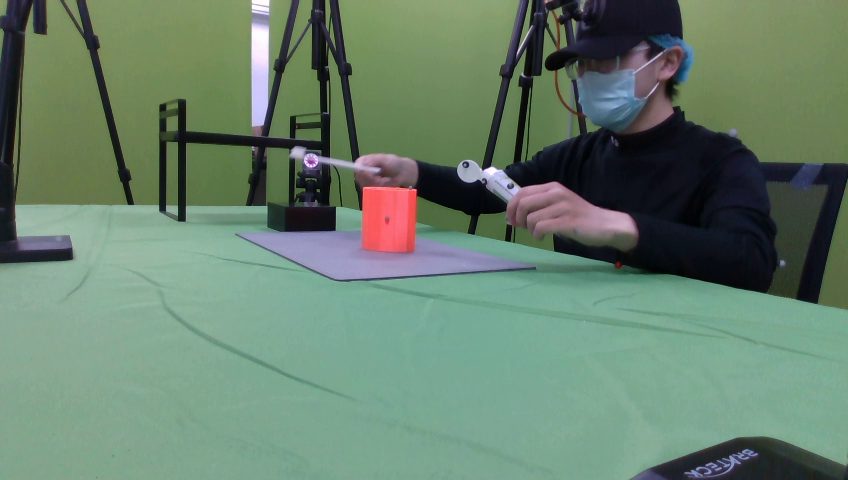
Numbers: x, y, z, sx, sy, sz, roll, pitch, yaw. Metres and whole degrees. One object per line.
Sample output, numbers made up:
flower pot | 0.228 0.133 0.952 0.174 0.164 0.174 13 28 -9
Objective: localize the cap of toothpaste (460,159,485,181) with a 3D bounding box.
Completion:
cap of toothpaste | 0.070 -0.102 0.872 0.037 0.037 0.011 5 33 19

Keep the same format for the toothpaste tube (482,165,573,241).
toothpaste tube | 0.141 -0.054 0.847 0.164 0.034 0.055 45 20 28

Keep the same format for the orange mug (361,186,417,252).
orange mug | -0.054 -0.039 0.962 0.083 0.101 0.126 2 12 0

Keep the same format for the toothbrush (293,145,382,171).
toothbrush | -0.152 -0.146 1.092 0.183 0.016 0.014 8 6 -37
